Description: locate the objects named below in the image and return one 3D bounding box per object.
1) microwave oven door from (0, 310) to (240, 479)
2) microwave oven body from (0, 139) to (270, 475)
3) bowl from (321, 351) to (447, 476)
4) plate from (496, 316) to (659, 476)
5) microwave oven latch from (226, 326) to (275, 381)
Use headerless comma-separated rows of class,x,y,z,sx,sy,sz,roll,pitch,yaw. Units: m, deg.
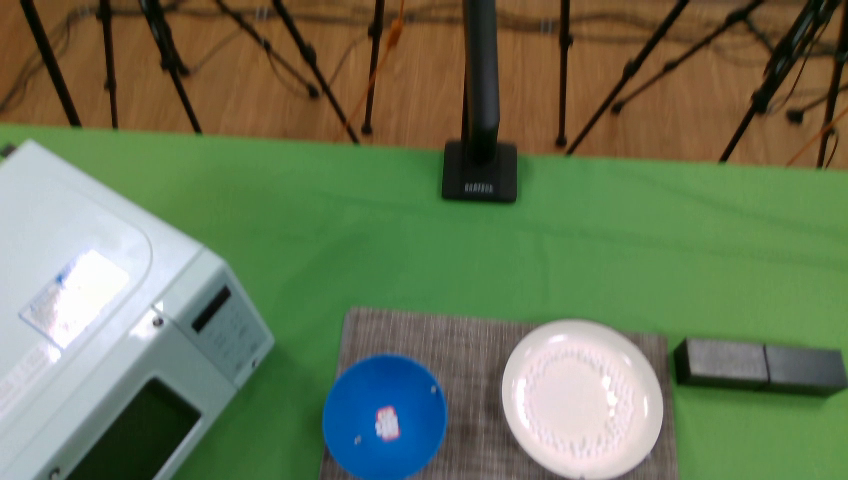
microwave oven door,-0.352,0.258,0.630,0.039,0.246,0.354,28,65,16
microwave oven body,-0.454,0.163,0.689,0.324,0.262,0.440,28,65,15
bowl,-0.048,0.222,0.759,0.151,0.077,0.150,0,61,0
plate,0.197,0.202,0.792,0.208,0.039,0.206,0,61,0
microwave oven latch,-0.233,0.146,0.808,0.030,0.030,0.079,30,66,15
